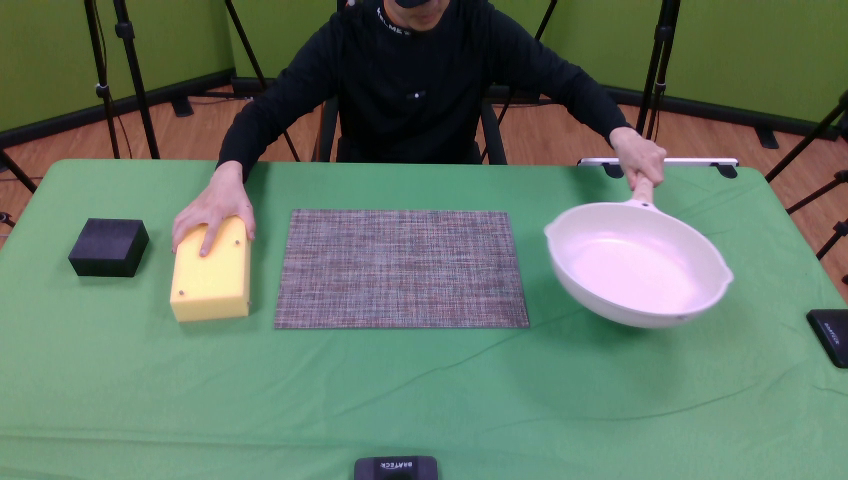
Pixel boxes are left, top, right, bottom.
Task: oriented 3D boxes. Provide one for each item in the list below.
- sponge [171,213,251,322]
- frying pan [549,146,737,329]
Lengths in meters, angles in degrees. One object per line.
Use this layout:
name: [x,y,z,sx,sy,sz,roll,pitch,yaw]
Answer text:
sponge: [-0.380,0.045,1.099,0.118,0.061,0.205,-6,47,-9]
frying pan: [0.397,-0.027,1.103,0.306,0.103,0.486,16,48,13]
